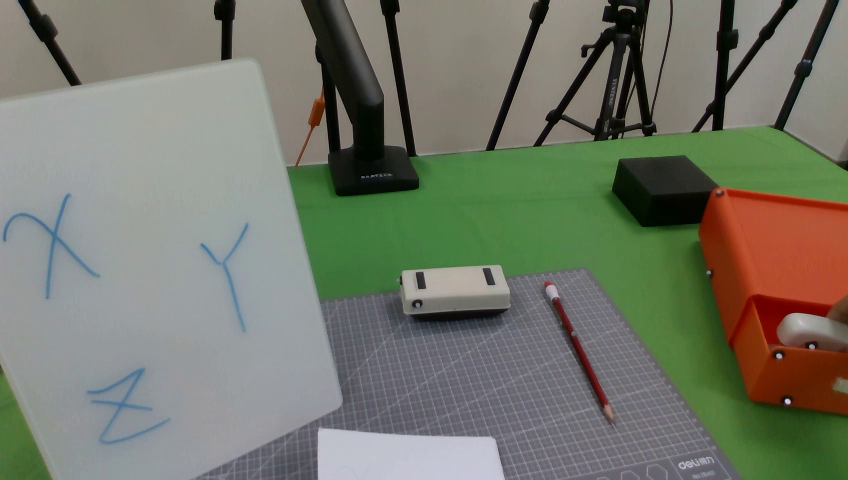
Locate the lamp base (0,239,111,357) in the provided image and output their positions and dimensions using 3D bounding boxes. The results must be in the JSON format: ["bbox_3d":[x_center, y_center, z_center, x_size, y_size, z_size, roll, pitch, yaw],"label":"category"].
[{"bbox_3d":[-0.417,-0.006,0.578,0.178,0.182,0.160,17,38,23],"label":"lamp base"}]

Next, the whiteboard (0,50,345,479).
[{"bbox_3d":[-0.218,0.023,0.492,0.218,0.307,0.142,-20,22,-27],"label":"whiteboard"}]

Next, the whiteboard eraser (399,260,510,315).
[{"bbox_3d":[0.032,0.051,0.643,0.113,0.042,0.055,-2,37,-7],"label":"whiteboard eraser"}]

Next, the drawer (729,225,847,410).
[{"bbox_3d":[0.411,0.072,0.608,0.194,0.074,0.210,7,35,8],"label":"drawer"}]

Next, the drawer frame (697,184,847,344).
[{"bbox_3d":[0.424,0.033,0.662,0.201,0.083,0.212,7,35,8],"label":"drawer frame"}]

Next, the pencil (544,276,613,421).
[{"bbox_3d":[0.153,0.102,0.609,0.012,0.012,0.192,-3,38,-8],"label":"pencil"}]

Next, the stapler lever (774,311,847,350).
[{"bbox_3d":[0.382,0.088,0.547,0.118,0.040,0.026,4,42,13],"label":"stapler lever"}]

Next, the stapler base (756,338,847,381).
[{"bbox_3d":[0.383,0.108,0.562,0.130,0.024,0.041,4,42,13],"label":"stapler base"}]
